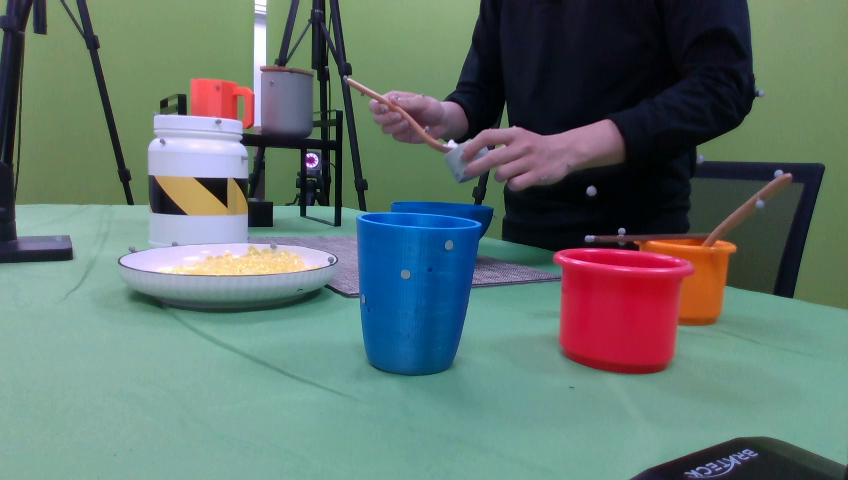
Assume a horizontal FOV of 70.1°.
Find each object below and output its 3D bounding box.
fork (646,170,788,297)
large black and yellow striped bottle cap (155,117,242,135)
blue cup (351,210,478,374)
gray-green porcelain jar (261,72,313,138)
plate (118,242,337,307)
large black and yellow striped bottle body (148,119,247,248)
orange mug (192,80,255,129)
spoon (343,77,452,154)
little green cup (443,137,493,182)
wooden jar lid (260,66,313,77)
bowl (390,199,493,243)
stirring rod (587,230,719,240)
[{"bbox_3d":[0.256,0.004,0.543,0.028,0.018,0.207,3,-36,-9],"label":"fork"},{"bbox_3d":[-0.313,-0.159,0.845,0.115,0.019,0.115,3,9,0],"label":"large black and yellow striped bottle cap"},{"bbox_3d":[-0.009,0.034,0.414,0.093,0.100,0.092,4,8,0],"label":"blue cup"},{"bbox_3d":[-0.284,-0.276,1.253,0.106,0.126,0.106,2,8,0],"label":"gray-green porcelain jar"},{"bbox_3d":[-0.194,0.033,0.615,0.209,0.038,0.209,2,7,0],"label":"plate"},{"bbox_3d":[-0.318,-0.076,0.855,0.131,0.184,0.130,2,7,0],"label":"large black and yellow striped bottle body"},{"bbox_3d":[-0.388,-0.257,1.173,0.126,0.100,0.083,-1,7,9],"label":"orange mug"},{"bbox_3d":[-0.036,-0.177,0.857,0.193,0.021,0.042,39,16,6],"label":"spoon"},{"bbox_3d":[0.060,-0.105,0.802,0.061,0.038,0.061,-26,-4,-2],"label":"little green cup"},{"bbox_3d":[-0.283,-0.339,1.244,0.108,0.020,0.108,6,8,-1],"label":"wooden jar lid"},{"bbox_3d":[0.023,-0.016,0.874,0.151,0.077,0.151,3,7,0],"label":"bowl"},{"bbox_3d":[0.226,-0.005,0.587,0.177,0.006,0.014,-2,10,-29],"label":"stirring rod"}]
